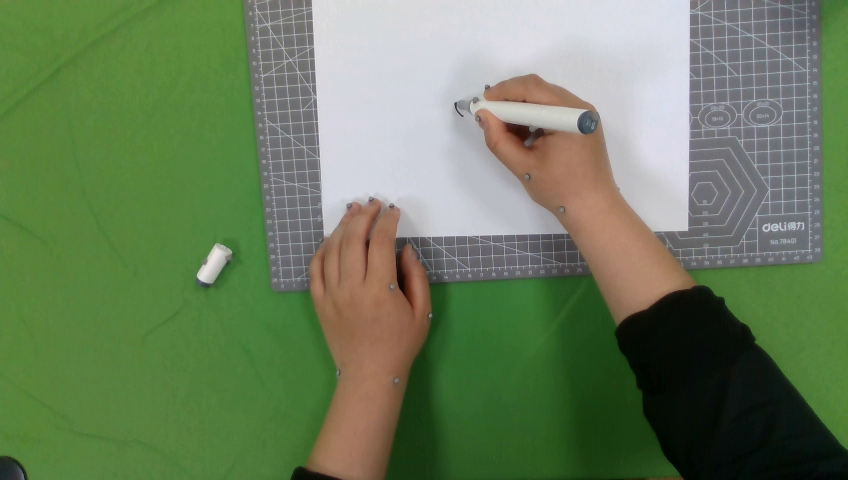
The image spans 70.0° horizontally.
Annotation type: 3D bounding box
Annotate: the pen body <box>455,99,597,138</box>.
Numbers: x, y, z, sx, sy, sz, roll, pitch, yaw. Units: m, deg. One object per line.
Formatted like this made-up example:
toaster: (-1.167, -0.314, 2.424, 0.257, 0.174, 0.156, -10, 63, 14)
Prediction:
pen body: (0.065, -0.089, 0.436, 0.017, 0.142, 0.017, -13, 112, -32)

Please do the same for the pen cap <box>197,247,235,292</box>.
pen cap: (-0.178, 0.026, 0.514, 0.017, 0.017, 0.038, 35, 96, 1)
